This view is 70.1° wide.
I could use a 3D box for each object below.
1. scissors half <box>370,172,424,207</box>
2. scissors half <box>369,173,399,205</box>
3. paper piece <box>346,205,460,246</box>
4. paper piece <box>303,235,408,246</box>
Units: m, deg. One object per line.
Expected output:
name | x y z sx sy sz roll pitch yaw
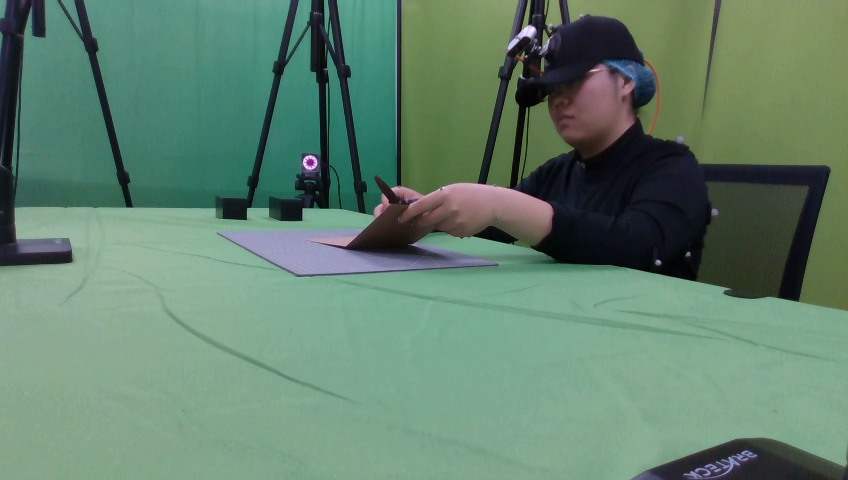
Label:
scissors half | -0.046 -0.080 1.074 0.176 0.040 0.013 34 17 -54
scissors half | -0.063 -0.070 1.076 0.040 0.012 0.176 -29 -34 1
paper piece | -0.034 -0.021 0.932 0.137 0.008 0.137 -5 -22 -40
paper piece | -0.115 0.000 1.028 0.136 0.004 0.134 -3 8 -40
